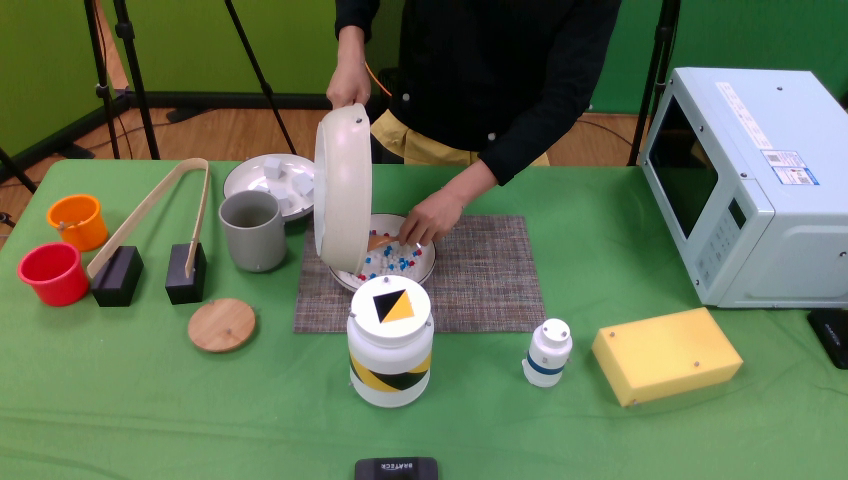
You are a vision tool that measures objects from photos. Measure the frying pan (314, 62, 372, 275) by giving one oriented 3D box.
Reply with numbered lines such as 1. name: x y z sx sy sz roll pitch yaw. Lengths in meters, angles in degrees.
1. frying pan: -0.143 -0.165 1.086 0.103 0.308 0.484 7 50 -10

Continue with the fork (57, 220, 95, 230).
1. fork: -0.624 -0.027 1.086 0.028 0.207 0.018 -3 92 -17

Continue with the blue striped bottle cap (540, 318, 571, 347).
1. blue striped bottle cap: 0.203 0.142 0.933 0.044 0.021 0.044 3 49 -4

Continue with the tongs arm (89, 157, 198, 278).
1. tongs arm: -0.529 -0.058 1.164 0.028 0.028 0.385 1 36 8

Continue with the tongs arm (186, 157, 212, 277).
1. tongs arm: -0.445 -0.058 1.168 0.051 0.026 0.382 -5 37 -6

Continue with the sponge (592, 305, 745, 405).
1. sponge: 0.405 0.190 1.014 0.207 0.061 0.117 -10 48 -13

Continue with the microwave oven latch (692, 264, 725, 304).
1. microwave oven latch: 0.522 0.081 1.116 0.030 0.029 0.078 1 46 -2

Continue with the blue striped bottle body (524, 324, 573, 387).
1. blue striped bottle body: 0.200 0.178 0.970 0.063 0.121 0.062 2 46 -2

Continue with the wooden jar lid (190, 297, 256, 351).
1. wooden jar lid: -0.342 0.145 1.033 0.108 0.021 0.107 2 45 -2

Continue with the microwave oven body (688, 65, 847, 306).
1. microwave oven body: 0.669 -0.111 1.176 0.326 0.261 0.439 0 46 -3

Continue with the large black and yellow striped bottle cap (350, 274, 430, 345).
1. large black and yellow striped bottle cap: -0.048 0.097 0.868 0.115 0.019 0.114 3 48 -3

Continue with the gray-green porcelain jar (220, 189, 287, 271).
1. gray-green porcelain jar: -0.309 -0.014 1.113 0.106 0.127 0.105 2 46 -2

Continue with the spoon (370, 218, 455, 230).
1. spoon: -0.039 -0.027 1.120 0.194 0.022 0.041 1 24 -9

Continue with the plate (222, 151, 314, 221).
1. plate: -0.310 -0.106 1.263 0.208 0.039 0.206 2 47 -2

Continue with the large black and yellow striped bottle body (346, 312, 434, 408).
1. large black and yellow striped bottle body: -0.052 0.157 0.930 0.131 0.185 0.130 2 46 -2

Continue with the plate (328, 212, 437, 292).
1. plate: -0.080 0.030 1.143 0.209 0.038 0.208 2 46 -2

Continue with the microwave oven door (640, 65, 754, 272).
1. microwave oven door: 0.524 -0.148 1.193 0.039 0.245 0.353 0 47 -3
